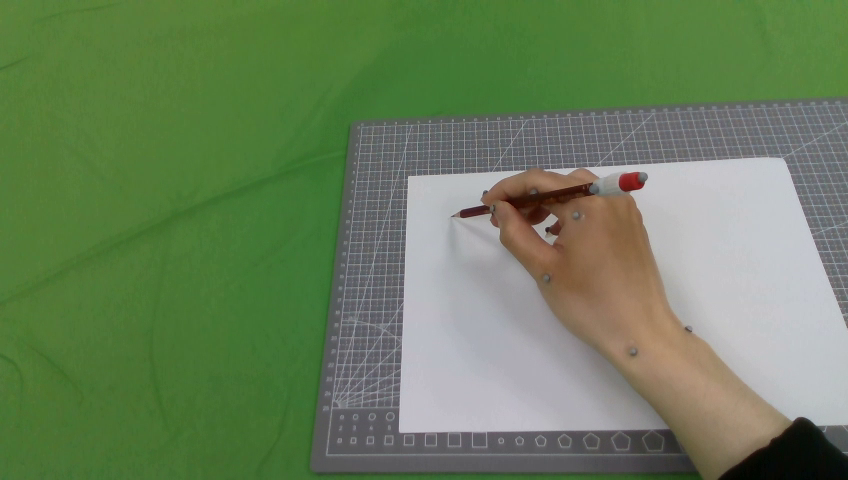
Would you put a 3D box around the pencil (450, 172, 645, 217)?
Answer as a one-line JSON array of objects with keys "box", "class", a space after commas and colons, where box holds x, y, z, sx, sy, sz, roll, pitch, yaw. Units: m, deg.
[{"box": [0.064, -0.025, 0.386, 0.012, 0.193, 0.012, 1, 87, -27], "class": "pencil"}]
